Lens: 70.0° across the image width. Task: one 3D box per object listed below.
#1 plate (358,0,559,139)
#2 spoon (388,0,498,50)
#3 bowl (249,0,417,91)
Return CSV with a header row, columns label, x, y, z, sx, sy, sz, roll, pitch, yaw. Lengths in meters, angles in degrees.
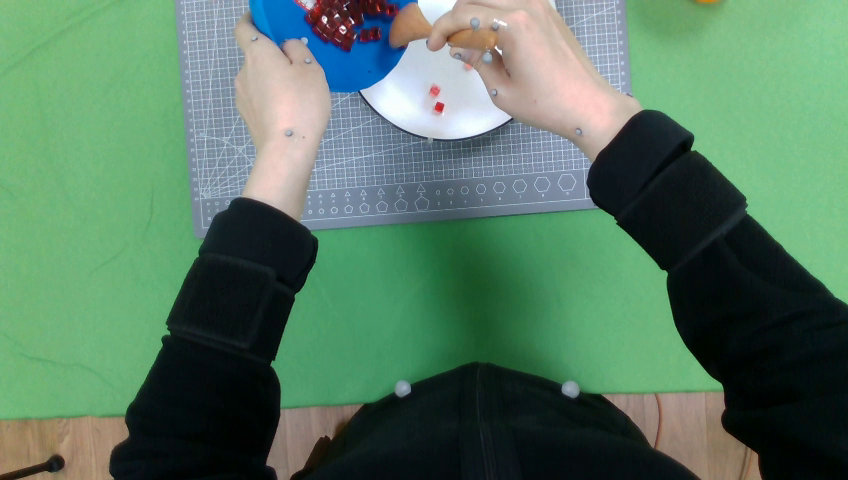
label,x,y,z,sx,sy,sz,roll,pitch,yaw
plate,0.025,-0.201,0.589,0.209,0.038,0.209,0,92,3
spoon,0.010,-0.154,0.444,0.022,0.191,0.041,24,100,-32
bowl,-0.086,-0.204,0.499,0.076,0.153,0.151,24,93,43
